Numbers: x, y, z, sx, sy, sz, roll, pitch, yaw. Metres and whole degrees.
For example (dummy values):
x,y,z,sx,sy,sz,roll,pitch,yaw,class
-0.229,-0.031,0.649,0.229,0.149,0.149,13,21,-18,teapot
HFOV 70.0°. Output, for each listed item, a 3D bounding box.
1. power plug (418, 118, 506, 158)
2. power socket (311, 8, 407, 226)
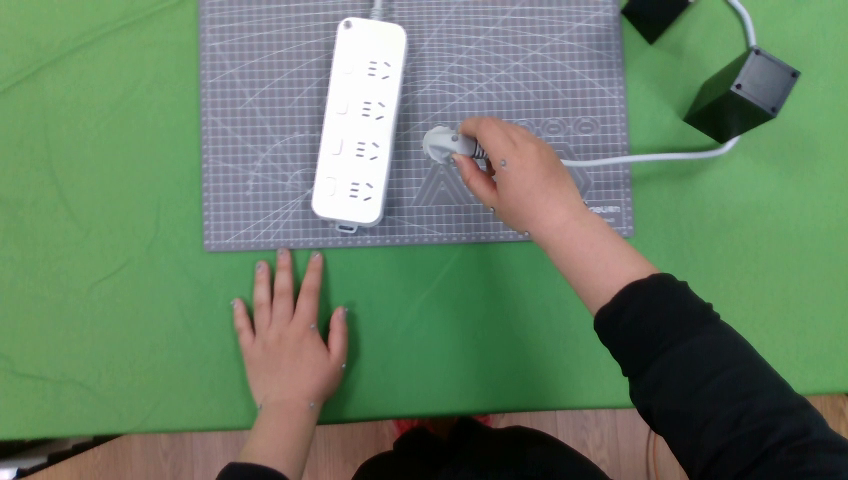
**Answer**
x,y,z,sx,sy,sz,roll,pitch,yaw,class
0.029,-0.083,0.547,0.073,0.052,0.035,29,78,-23,power plug
-0.066,-0.128,0.622,0.072,0.032,0.226,8,86,-2,power socket
